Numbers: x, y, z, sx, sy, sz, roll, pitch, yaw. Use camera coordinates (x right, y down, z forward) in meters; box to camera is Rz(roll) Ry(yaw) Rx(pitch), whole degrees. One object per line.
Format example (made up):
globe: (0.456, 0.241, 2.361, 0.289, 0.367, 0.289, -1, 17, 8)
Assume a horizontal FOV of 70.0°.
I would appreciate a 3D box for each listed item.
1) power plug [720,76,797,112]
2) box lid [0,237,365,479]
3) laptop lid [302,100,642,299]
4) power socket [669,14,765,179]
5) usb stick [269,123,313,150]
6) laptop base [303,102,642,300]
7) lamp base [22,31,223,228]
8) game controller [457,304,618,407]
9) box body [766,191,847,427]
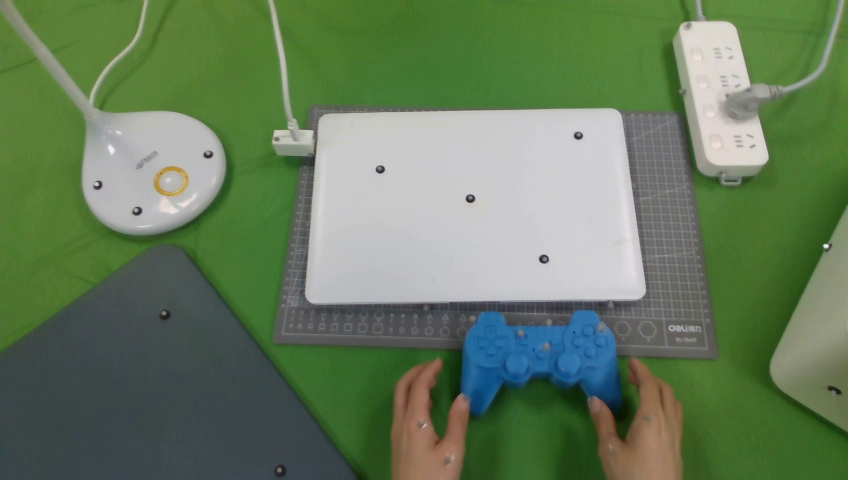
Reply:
power plug: (0.371, -0.157, 0.681, 0.072, 0.053, 0.035, 11, 66, 5)
box lid: (-0.260, 0.188, 0.585, 0.263, 0.015, 0.369, -39, 72, -15)
laptop lid: (0.048, -0.050, 0.661, 0.357, 0.013, 0.240, 1, 69, 2)
power socket: (0.342, -0.178, 0.715, 0.072, 0.033, 0.225, 1, 66, 0)
usb stick: (-0.145, -0.119, 0.695, 0.059, 0.027, 0.021, 3, 61, -1)
laptop base: (0.049, -0.048, 0.673, 0.354, 0.023, 0.234, -1, 70, 1)
lamp base: (-0.325, -0.123, 0.627, 0.178, 0.181, 0.160, 27, 69, 16)
game controller: (0.109, 0.110, 0.588, 0.155, 0.052, 0.096, 0, 64, 1)
box body: (0.517, 0.033, 0.549, 0.253, 0.161, 0.363, 33, 71, 14)
